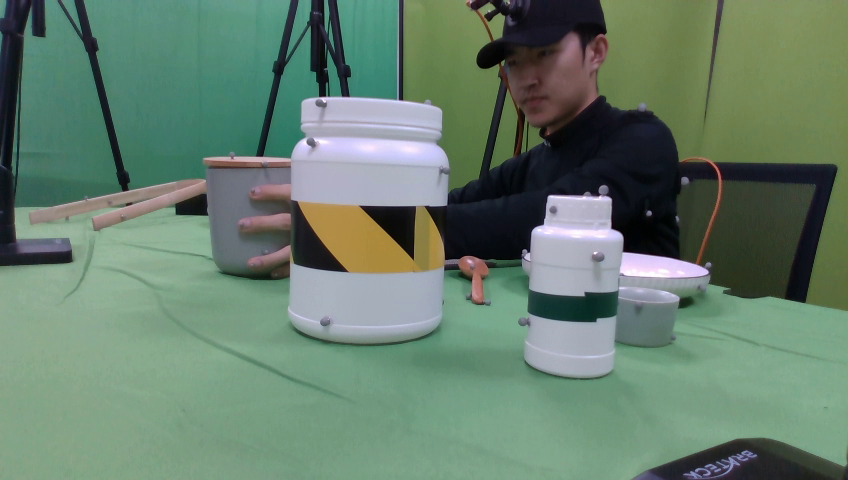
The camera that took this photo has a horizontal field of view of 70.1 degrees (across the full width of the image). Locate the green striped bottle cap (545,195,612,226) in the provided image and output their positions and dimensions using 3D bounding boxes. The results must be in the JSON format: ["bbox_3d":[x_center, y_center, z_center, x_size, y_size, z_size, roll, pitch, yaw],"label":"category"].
[{"bbox_3d":[0.106,-0.020,0.414,0.044,0.020,0.044,2,4,0],"label":"green striped bottle cap"}]

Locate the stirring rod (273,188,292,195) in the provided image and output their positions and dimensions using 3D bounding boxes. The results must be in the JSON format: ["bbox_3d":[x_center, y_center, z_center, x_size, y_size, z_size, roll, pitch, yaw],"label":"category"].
[{"bbox_3d":[-0.354,-0.122,1.518,0.006,0.014,0.176,2,6,1],"label":"stirring rod"}]

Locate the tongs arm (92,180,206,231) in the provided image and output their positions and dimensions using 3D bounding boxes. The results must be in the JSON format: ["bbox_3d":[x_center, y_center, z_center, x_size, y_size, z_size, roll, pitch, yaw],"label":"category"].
[{"bbox_3d":[-0.534,-0.076,1.221,0.028,0.028,0.388,-2,15,12],"label":"tongs arm"}]

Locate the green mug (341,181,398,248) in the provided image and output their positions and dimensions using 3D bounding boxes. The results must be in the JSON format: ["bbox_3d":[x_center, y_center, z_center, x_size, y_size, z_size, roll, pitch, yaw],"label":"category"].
[{"bbox_3d":[-0.090,-0.044,0.996,0.093,0.105,0.125,1,7,-10],"label":"green mug"}]

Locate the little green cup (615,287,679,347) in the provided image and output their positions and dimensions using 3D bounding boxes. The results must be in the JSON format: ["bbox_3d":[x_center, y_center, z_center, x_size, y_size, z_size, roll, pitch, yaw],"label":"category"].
[{"bbox_3d":[0.180,0.064,0.506,0.061,0.038,0.061,2,8,0],"label":"little green cup"}]

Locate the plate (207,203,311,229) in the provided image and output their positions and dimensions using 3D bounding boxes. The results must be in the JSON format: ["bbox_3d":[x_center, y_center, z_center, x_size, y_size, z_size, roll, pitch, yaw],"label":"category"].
[{"bbox_3d":[-0.342,-0.050,1.259,0.208,0.039,0.207,3,7,0],"label":"plate"}]

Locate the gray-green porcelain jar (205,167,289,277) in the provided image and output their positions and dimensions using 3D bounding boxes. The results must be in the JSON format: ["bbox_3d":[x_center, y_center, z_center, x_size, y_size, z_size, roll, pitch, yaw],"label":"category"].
[{"bbox_3d":[-0.202,-0.024,0.724,0.106,0.126,0.106,-2,9,1],"label":"gray-green porcelain jar"}]

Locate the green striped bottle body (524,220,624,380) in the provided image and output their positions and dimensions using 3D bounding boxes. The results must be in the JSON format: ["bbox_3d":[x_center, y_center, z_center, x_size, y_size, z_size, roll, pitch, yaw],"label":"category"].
[{"bbox_3d":[0.104,0.031,0.422,0.063,0.119,0.063,2,8,0],"label":"green striped bottle body"}]

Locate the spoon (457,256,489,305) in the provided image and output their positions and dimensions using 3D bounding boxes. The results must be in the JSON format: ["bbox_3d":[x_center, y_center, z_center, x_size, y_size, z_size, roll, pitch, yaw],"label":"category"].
[{"bbox_3d":[0.059,0.044,0.696,0.041,0.021,0.194,21,7,0],"label":"spoon"}]

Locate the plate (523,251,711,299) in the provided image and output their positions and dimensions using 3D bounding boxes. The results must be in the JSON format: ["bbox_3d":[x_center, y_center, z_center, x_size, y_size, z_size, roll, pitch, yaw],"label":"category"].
[{"bbox_3d":[0.219,0.041,0.706,0.209,0.038,0.209,2,7,0],"label":"plate"}]

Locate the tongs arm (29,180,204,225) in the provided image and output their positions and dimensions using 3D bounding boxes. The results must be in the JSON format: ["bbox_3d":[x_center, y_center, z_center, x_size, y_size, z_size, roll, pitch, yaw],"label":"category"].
[{"bbox_3d":[-0.609,-0.083,1.245,0.050,0.026,0.386,5,16,23],"label":"tongs arm"}]

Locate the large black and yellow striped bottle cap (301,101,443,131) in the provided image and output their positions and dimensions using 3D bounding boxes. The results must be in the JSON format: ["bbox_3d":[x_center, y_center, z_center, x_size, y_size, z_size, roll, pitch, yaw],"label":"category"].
[{"bbox_3d":[-0.042,-0.100,0.491,0.115,0.019,0.115,1,8,0],"label":"large black and yellow striped bottle cap"}]

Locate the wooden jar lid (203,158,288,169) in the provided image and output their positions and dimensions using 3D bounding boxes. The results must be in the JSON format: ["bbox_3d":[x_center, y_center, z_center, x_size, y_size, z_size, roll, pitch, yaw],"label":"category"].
[{"bbox_3d":[-0.204,-0.086,0.714,0.108,0.020,0.108,2,10,0],"label":"wooden jar lid"}]

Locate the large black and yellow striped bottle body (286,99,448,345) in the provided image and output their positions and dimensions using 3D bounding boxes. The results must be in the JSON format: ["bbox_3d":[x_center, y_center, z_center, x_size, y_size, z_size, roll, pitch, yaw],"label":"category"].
[{"bbox_3d":[-0.047,-0.018,0.501,0.131,0.184,0.130,2,7,0],"label":"large black and yellow striped bottle body"}]
